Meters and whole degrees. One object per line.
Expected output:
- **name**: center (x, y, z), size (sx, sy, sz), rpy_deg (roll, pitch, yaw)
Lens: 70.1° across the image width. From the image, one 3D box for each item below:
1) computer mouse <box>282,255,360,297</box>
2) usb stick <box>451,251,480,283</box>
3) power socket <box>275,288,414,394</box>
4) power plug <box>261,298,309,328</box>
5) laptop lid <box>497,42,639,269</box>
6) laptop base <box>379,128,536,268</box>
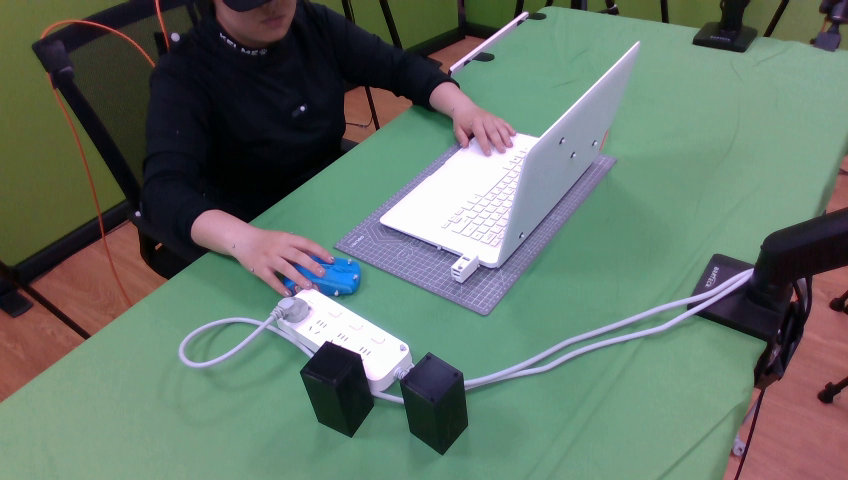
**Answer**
- **computer mouse**: center (-0.156, 0.054, 0.917), size (0.117, 0.041, 0.062), rpy_deg (1, 38, 2)
- **usb stick**: center (0.066, 0.036, 0.899), size (0.021, 0.027, 0.059), rpy_deg (23, 45, 32)
- **power socket**: center (-0.114, 0.132, 0.820), size (0.225, 0.033, 0.072), rpy_deg (25, 49, 32)
- **power plug**: center (-0.192, 0.107, 0.831), size (0.073, 0.053, 0.035), rpy_deg (-32, 43, -25)
- **laptop lid**: center (0.221, -0.130, 0.913), size (0.013, 0.242, 0.357), rpy_deg (31, 51, 21)
- **laptop base**: center (0.118, -0.088, 1.058), size (0.233, 0.023, 0.355), rpy_deg (19, 47, 32)
